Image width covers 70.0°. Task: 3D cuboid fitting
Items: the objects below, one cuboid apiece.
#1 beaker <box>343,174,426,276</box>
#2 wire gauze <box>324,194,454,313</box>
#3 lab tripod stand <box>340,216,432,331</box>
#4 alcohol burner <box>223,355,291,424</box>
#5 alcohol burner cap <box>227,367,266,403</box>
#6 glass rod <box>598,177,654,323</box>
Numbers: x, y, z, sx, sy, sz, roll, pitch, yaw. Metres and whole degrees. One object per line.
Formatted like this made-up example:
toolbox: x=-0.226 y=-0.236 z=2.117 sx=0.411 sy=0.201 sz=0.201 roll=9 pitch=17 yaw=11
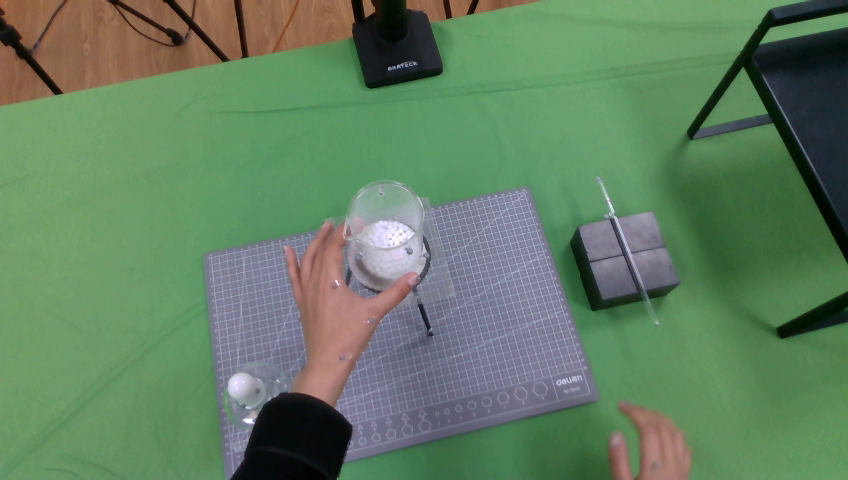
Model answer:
beaker: x=-0.039 y=-0.009 z=0.617 sx=0.084 sy=0.101 sz=0.073 roll=-27 pitch=70 yaw=-10
wire gauze: x=-0.040 y=0.014 z=0.660 sx=0.125 sy=0.011 sz=0.120 roll=-10 pitch=69 yaw=-7
lab tripod stand: x=-0.037 y=0.034 z=0.723 sx=0.148 sy=0.132 sz=0.147 roll=0 pitch=67 yaw=1
alcohol burner: x=-0.191 y=0.165 z=0.681 sx=0.078 sy=0.120 sz=0.077 roll=1 pitch=70 yaw=-1
alcohol burner cap: x=-0.192 y=0.154 z=0.647 sx=0.034 sy=0.048 sz=0.033 roll=-1 pitch=64 yaw=3
glass rod: x=0.250 y=0.008 z=0.754 sx=0.008 sy=0.008 sz=0.198 roll=-12 pitch=69 yaw=-5
